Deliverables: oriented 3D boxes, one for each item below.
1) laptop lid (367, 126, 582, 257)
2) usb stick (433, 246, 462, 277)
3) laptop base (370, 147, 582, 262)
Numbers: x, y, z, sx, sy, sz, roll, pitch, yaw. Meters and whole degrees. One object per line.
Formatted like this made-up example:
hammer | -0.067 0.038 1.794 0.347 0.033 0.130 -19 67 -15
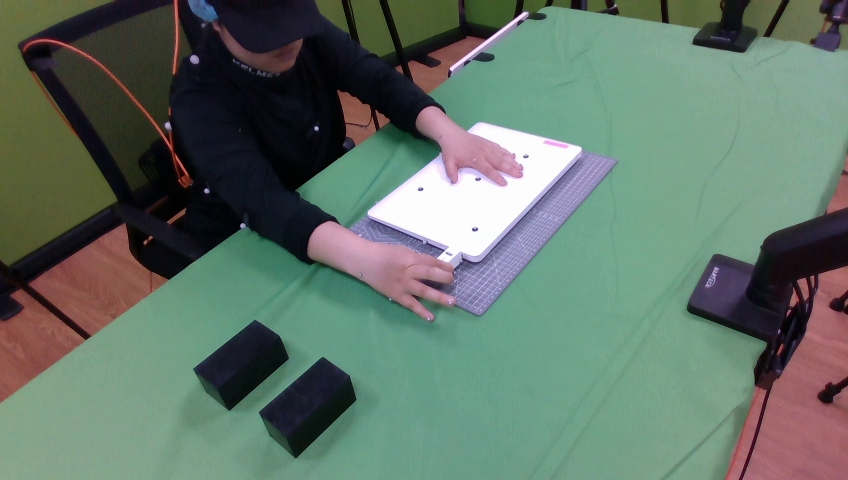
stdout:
laptop lid | 0.095 -0.103 1.067 0.239 0.013 0.358 22 47 34
usb stick | 0.040 0.028 0.912 0.021 0.027 0.059 29 46 28
laptop base | 0.098 -0.096 1.072 0.233 0.023 0.355 20 47 34
